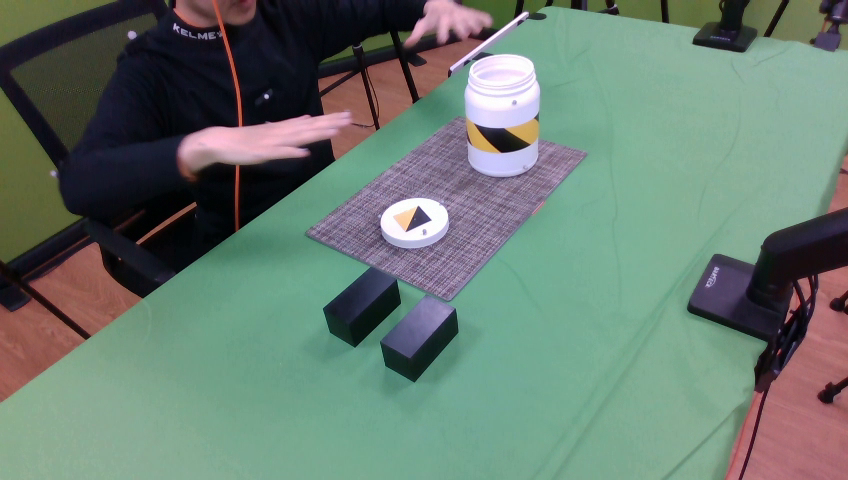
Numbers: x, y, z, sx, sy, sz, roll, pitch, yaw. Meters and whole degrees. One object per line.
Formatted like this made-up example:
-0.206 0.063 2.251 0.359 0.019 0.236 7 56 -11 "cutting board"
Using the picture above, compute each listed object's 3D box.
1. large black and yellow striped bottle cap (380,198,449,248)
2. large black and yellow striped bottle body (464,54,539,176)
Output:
-0.016 -0.030 1.004 0.115 0.019 0.114 -5 40 4 "large black and yellow striped bottle cap"
0.139 -0.221 1.075 0.131 0.185 0.130 -4 41 4 "large black and yellow striped bottle body"
